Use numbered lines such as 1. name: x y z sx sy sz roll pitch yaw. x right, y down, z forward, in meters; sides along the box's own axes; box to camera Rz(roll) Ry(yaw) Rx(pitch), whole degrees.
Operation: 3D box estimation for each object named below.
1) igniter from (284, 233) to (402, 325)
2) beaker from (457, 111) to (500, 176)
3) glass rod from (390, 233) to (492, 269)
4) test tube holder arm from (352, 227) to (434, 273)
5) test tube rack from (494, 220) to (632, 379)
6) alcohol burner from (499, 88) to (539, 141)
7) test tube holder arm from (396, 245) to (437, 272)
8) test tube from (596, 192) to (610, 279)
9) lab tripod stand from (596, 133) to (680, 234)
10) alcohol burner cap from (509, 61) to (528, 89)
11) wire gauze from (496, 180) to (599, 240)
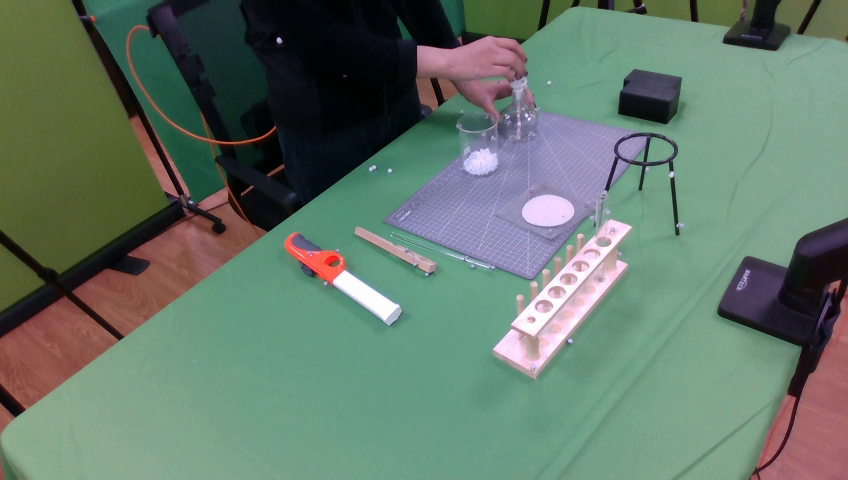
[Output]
1. igniter: -0.136 0.054 0.942 0.274 0.025 0.057 30 64 37
2. beaker: 0.104 -0.176 1.108 0.073 0.101 0.084 16 45 27
3. glass rod: 0.024 0.017 0.971 0.198 0.008 0.008 18 48 32
4. test tube holder arm: -0.053 0.014 0.978 0.177 0.015 0.013 25 16 34
5. test tube rack: 0.191 0.068 0.818 0.066 0.085 0.243 25 51 35
6. alcohol burner: 0.185 -0.253 1.173 0.078 0.119 0.077 -4 39 4
7. test tube holder arm: -0.016 0.029 0.957 0.087 0.015 0.010 25 16 34
8. test tube: 0.240 -0.002 0.814 0.017 0.151 0.017 -7 42 7
9. lab tripod stand: 0.338 -0.090 0.940 0.148 0.132 0.147 -7 39 6
10. alcohol burner cap: 0.173 -0.308 1.121 0.034 0.048 0.033 -10 47 11
11. wire gauze: 0.206 -0.050 1.012 0.125 0.011 0.120 -34 45 -26
